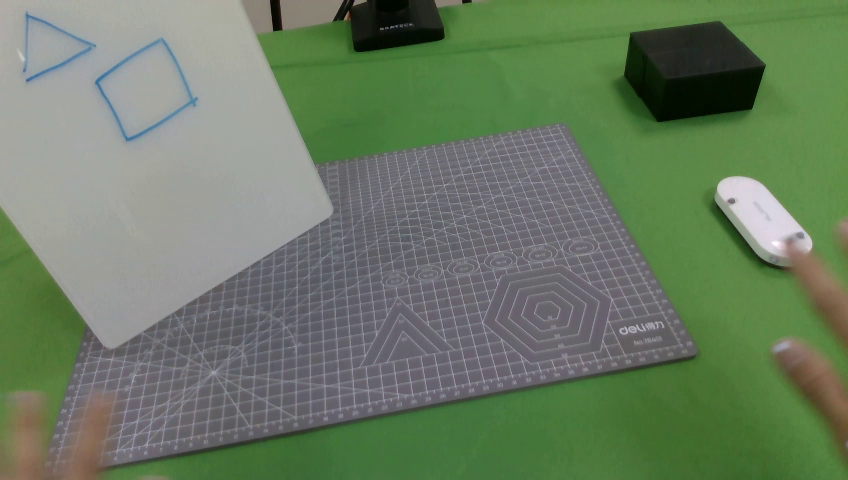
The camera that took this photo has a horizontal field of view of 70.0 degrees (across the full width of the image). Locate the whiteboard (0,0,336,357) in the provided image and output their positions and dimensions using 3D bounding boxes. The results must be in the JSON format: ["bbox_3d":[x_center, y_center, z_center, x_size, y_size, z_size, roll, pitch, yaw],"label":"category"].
[{"bbox_3d":[-0.246,-0.106,0.489,0.217,0.308,0.142,-35,31,-25],"label":"whiteboard"}]

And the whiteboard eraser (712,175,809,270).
[{"bbox_3d":[0.274,-0.018,0.497,0.041,0.019,0.100,-9,45,-3],"label":"whiteboard eraser"}]
